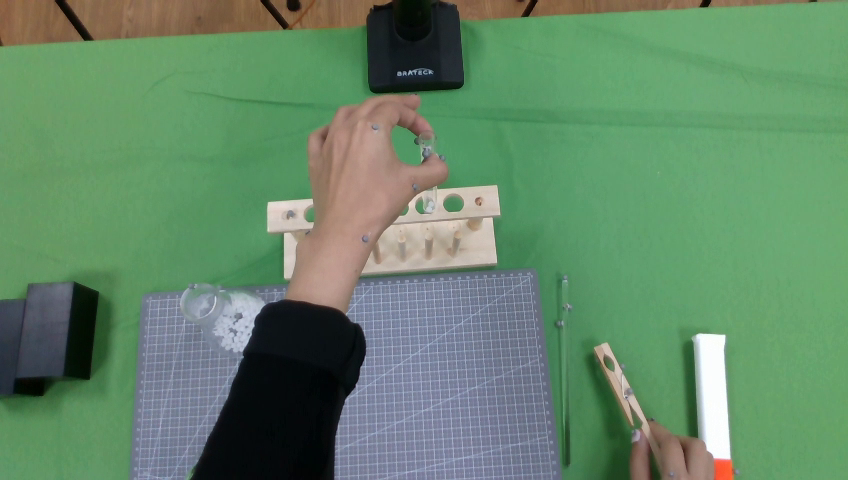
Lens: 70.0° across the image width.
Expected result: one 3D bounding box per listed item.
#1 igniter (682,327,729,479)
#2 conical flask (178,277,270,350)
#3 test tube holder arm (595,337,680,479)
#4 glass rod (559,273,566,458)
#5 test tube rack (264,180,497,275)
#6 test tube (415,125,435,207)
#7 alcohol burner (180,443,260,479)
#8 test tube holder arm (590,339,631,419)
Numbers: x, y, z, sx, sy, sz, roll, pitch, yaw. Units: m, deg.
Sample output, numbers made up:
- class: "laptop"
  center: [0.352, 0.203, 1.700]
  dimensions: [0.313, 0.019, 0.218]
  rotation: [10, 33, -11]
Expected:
- class: "igniter"
  center: [0.293, 0.227, 0.622]
  dimensions: [0.057, 0.025, 0.275]
  rotation: [5, 75, 1]
- class: "conical flask"
  center: [-0.210, 0.070, 0.622]
  dimensions: [0.075, 0.122, 0.075]
  rotation: [0, 74, 1]
- class: "test tube holder arm"
  center: [0.221, 0.180, 0.620]
  dimensions: [0.013, 0.015, 0.176]
  rotation: [-28, 63, 6]
- class: "glass rod"
  center: [0.151, 0.133, 0.660]
  dimensions: [0.008, 0.008, 0.198]
  rotation: [3, 76, 1]
- class: "test tube rack"
  center: [-0.044, -0.012, 0.666]
  dimensions: [0.242, 0.085, 0.066]
  rotation: [-4, 74, 0]
- class: "test tube"
  center: [0.002, -0.064, 0.562]
  dimensions: [0.017, 0.151, 0.017]
  rotation: [0, 72, 1]
- class: "alcohol burner"
  center: [-0.201, 0.235, 0.579]
  dimensions: [0.078, 0.120, 0.077]
  rotation: [-1, 72, 3]
- class: "test tube holder arm"
  center: [0.200, 0.146, 0.640]
  dimensions: [0.010, 0.015, 0.087]
  rotation: [-27, 63, 6]
